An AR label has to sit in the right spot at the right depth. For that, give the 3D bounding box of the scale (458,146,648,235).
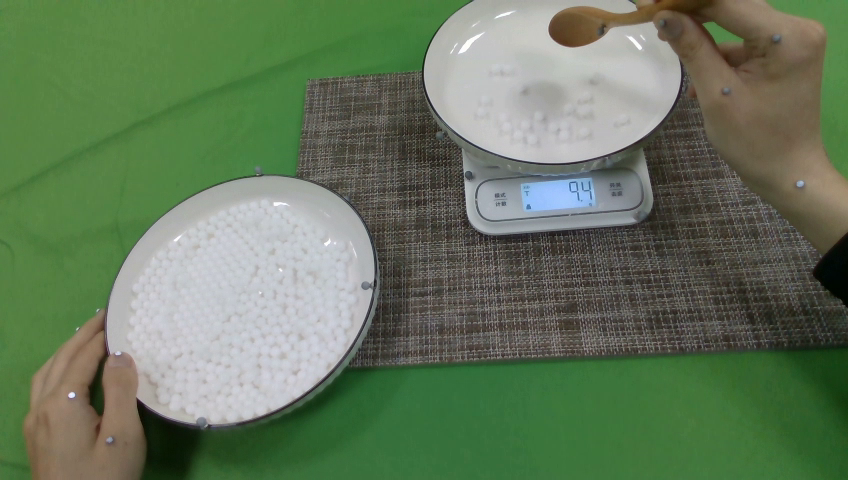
[{"bbox_3d":[0.103,-0.099,0.523,0.148,0.032,0.199,-4,60,4],"label":"scale"}]

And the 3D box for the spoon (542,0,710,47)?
[{"bbox_3d":[0.137,-0.151,0.407,0.042,0.192,0.021,26,93,-21],"label":"spoon"}]

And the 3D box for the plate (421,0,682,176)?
[{"bbox_3d":[0.102,-0.133,0.505,0.207,0.039,0.205,-2,59,4],"label":"plate"}]

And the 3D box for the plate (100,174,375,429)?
[{"bbox_3d":[-0.137,0.043,0.464,0.209,0.038,0.207,-3,60,5],"label":"plate"}]
